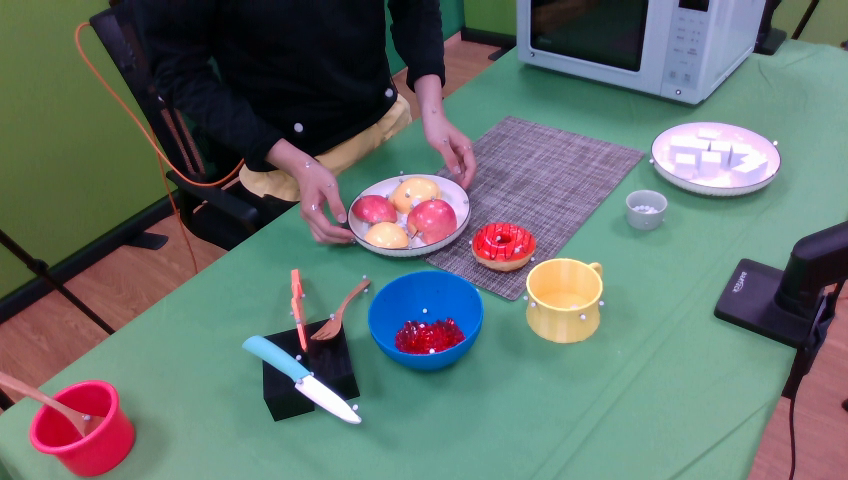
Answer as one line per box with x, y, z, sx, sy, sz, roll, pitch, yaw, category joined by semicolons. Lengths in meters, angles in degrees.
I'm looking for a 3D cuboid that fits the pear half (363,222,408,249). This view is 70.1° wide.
-0.060;-0.013;0.959;0.071;0.031;0.087;1;26;-25;pear half

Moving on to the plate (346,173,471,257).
-0.025;-0.038;1.005;0.209;0.038;0.208;-4;40;4;plate

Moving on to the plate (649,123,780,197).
0.497;-0.135;1.046;0.207;0.039;0.206;-4;40;4;plate

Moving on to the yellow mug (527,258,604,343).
0.201;0.073;0.825;0.131;0.064;0.099;-32;46;-27;yellow mug

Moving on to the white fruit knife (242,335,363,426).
-0.148;0.166;0.730;0.206;0.016;0.027;26;80;31;white fruit knife

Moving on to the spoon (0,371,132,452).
-0.439;0.195;0.715;0.195;0.021;0.041;38;42;-16;spoon

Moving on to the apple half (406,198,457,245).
0.012;-0.037;0.971;0.075;0.053;0.080;-28;41;-23;apple half

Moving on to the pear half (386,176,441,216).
-0.029;-0.080;1.035;0.109;0.056;0.076;-2;36;14;pear half

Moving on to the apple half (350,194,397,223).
-0.079;-0.057;1.009;0.081;0.033;0.081;11;24;-5;apple half

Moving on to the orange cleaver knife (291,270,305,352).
-0.175;0.094;0.844;0.012;0.077;0.210;-11;14;-10;orange cleaver knife

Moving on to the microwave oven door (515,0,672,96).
0.343;-0.454;1.259;0.353;0.245;0.039;26;51;33;microwave oven door

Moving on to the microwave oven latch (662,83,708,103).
0.518;-0.296;1.204;0.078;0.029;0.030;28;52;35;microwave oven latch

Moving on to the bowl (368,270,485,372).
0.007;0.118;0.791;0.151;0.077;0.150;-5;40;4;bowl

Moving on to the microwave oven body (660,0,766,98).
0.472;-0.513;1.317;0.438;0.261;0.327;26;51;34;microwave oven body

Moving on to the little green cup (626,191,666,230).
0.352;-0.046;0.963;0.061;0.039;0.061;-4;40;4;little green cup

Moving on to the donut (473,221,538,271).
0.123;0.008;0.923;0.099;0.048;0.098;-3;38;3;donut

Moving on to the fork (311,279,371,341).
-0.108;0.092;0.832;0.028;0.019;0.207;-6;19;15;fork
